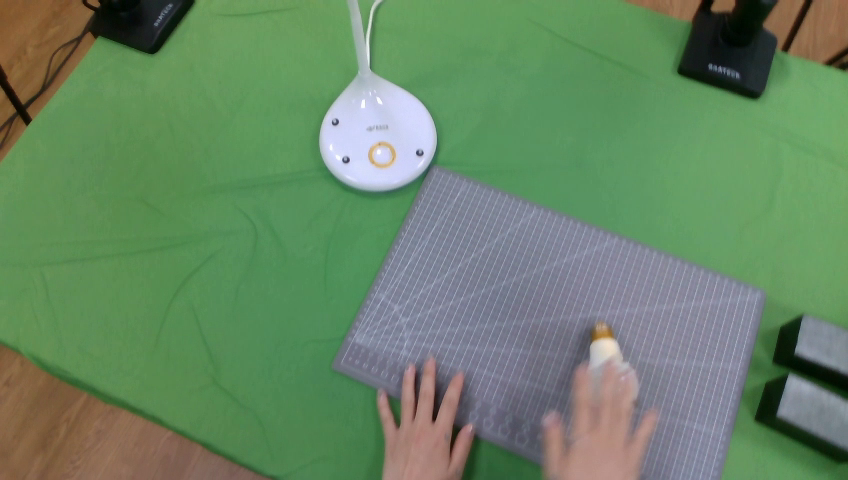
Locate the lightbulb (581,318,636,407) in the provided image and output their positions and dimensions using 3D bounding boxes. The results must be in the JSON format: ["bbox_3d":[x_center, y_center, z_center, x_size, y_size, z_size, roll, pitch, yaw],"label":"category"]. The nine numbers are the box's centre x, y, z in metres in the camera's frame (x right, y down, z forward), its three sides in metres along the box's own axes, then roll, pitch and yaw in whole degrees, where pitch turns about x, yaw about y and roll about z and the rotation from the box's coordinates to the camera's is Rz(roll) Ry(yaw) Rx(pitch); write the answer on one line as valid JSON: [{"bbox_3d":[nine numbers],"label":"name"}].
[{"bbox_3d":[0.207,0.137,0.692,0.059,0.060,0.106,2,53,2],"label":"lightbulb"}]

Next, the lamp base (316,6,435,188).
[{"bbox_3d":[-0.071,-0.183,0.755,0.161,0.181,0.177,-17,66,-6],"label":"lamp base"}]
